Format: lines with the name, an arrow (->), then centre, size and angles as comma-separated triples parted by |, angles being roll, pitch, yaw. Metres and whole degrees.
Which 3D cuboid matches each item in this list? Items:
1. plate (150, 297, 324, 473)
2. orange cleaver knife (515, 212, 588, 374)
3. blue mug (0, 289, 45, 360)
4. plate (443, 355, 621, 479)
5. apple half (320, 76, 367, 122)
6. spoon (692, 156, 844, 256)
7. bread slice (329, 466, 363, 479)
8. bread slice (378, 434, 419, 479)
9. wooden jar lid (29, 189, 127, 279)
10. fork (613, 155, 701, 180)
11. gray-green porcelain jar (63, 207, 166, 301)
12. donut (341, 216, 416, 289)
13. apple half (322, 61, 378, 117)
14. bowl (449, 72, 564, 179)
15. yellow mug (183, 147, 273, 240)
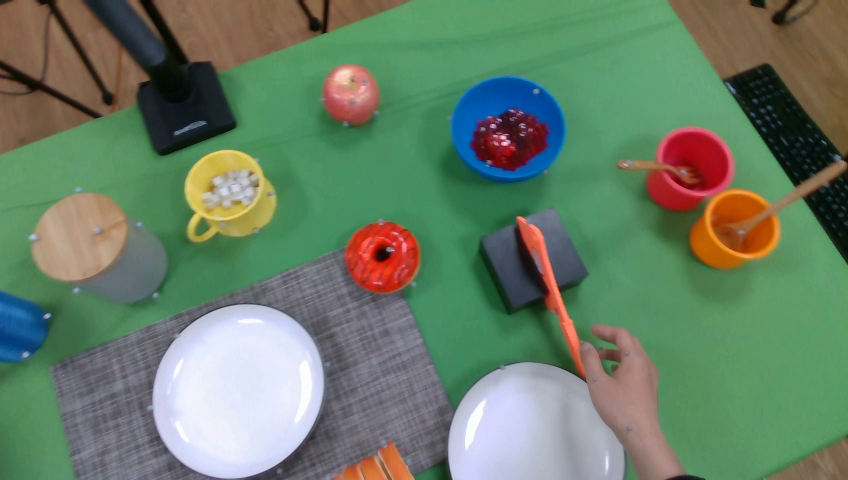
plate -> -0.224, 0.175, 0.742 | 0.208, 0.039, 0.206 | 0, 72, 1
orange cleaver knife -> 0.156, 0.065, 0.753 | 0.012, 0.077, 0.212 | -22, 97, -6
blue mug -> -0.546, 0.110, 0.735 | 0.082, 0.106, 0.116 | 39, 77, 13
plate -> 0.125, 0.243, 0.719 | 0.209, 0.038, 0.208 | 0, 72, 1
apple half -> -0.117, -0.186, 0.842 | 0.081, 0.082, 0.032 | 31, 70, 11
spoon -> 0.422, -0.041, 0.750 | 0.022, 0.194, 0.041 | -4, 60, -47
bread slice -> -0.059, 0.270, 0.597 | 0.019, 0.132, 0.104 | -33, 69, -9
bread slice -> -0.012, 0.246, 0.600 | 0.018, 0.135, 0.106 | -31, 69, -13
wooden jar lid -> -0.393, -0.005, 0.694 | 0.108, 0.021, 0.107 | -1, 70, 2
fork -> 0.300, -0.095, 0.770 | 0.209, 0.018, 0.028 | 0, 66, -44
gray-green porcelain jar -> -0.392, 0.015, 0.754 | 0.106, 0.127, 0.105 | 0, 71, 1
donut -> -0.059, 0.016, 0.788 | 0.099, 0.048, 0.098 | 0, 72, 0
apple half -> -0.097, -0.216, 0.853 | 0.080, 0.075, 0.053 | 31, 69, 14
bowl -> 0.108, -0.142, 0.824 | 0.151, 0.077, 0.150 | 0, 72, 1
yellow mug -> -0.269, -0.053, 0.806 | 0.099, 0.064, 0.130 | 34, 76, 11
